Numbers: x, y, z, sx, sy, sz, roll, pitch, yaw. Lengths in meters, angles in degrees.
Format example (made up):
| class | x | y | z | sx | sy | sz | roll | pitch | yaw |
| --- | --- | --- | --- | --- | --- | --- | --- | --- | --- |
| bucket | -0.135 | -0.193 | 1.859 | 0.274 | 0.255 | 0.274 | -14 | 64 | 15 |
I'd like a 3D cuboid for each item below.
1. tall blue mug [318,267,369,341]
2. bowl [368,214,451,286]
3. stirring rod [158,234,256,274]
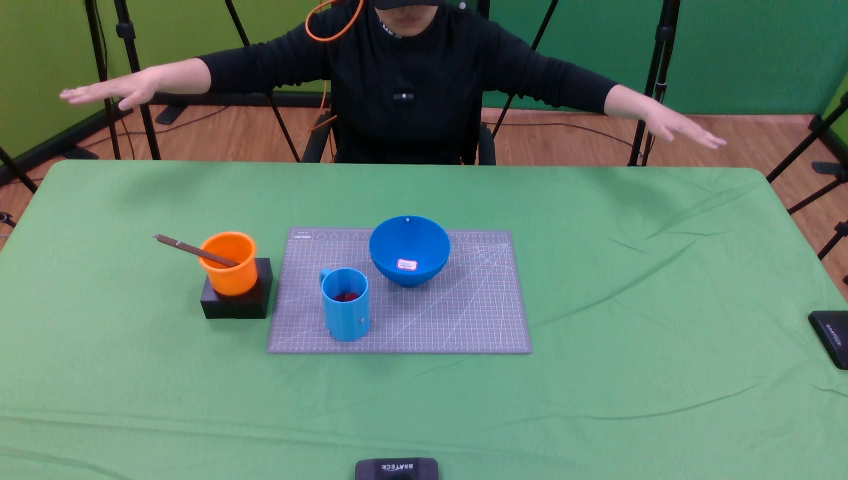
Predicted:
| class | x | y | z | sx | sy | sz | roll | pitch | yaw |
| --- | --- | --- | --- | --- | --- | --- | --- | --- | --- |
| tall blue mug | -0.146 | 0.104 | 1.022 | 0.107 | 0.108 | 0.077 | 19 | 49 | 14 |
| bowl | -0.028 | 0.031 | 1.122 | 0.151 | 0.077 | 0.150 | 2 | 46 | -2 |
| stirring rod | -0.353 | 0.024 | 0.999 | 0.177 | 0.006 | 0.014 | 26 | 29 | -40 |
